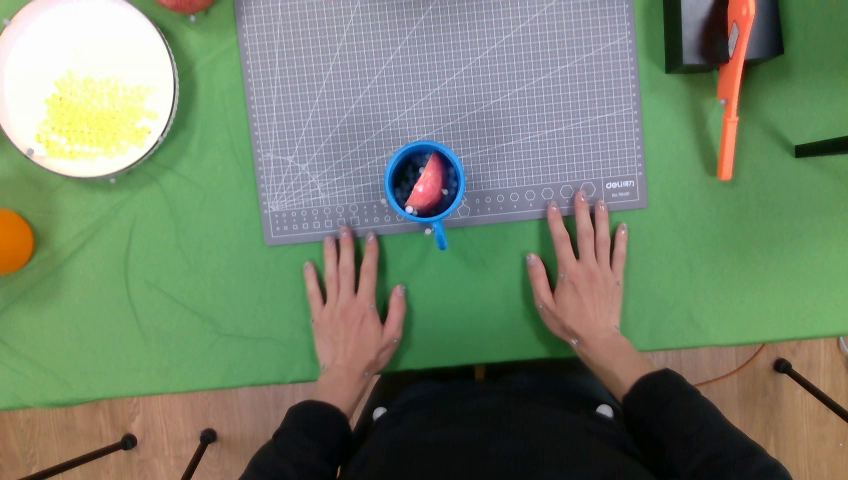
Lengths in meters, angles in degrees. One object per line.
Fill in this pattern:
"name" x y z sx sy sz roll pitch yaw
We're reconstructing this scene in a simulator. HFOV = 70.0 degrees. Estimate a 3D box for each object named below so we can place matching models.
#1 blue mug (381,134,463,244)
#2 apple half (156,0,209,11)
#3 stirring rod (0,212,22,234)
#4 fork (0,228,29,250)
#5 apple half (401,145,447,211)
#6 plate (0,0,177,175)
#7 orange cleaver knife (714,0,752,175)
"blue mug" 0.003 -0.052 0.656 0.082 0.105 0.116 -16 94 1
"apple half" -0.265 -0.277 0.656 0.081 0.074 0.053 -2 98 -4
"stirring rod" -0.513 0.022 0.645 0.014 0.006 0.175 45 51 -5
"fork" -0.538 -0.012 0.636 0.209 0.018 0.028 9 91 -44
"apple half" 0.007 -0.061 0.649 0.033 0.081 0.081 30 94 5
"plate" -0.378 -0.177 0.680 0.209 0.038 0.209 0 95 0
"orange cleaver knife" 0.331 -0.177 0.662 0.012 0.076 0.213 -4 121 9
